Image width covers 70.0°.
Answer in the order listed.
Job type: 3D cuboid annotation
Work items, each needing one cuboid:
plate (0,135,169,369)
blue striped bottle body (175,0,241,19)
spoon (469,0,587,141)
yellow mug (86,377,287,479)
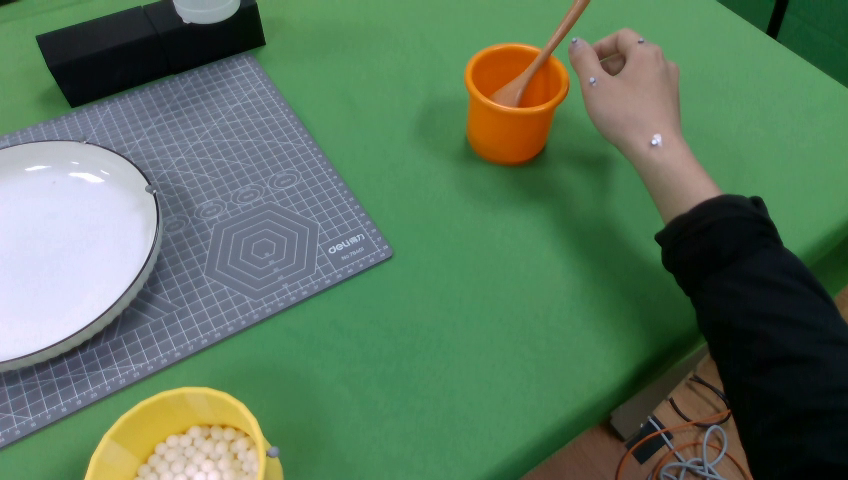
[{"bbox_3d":[-0.301,0.007,0.465,0.208,0.039,0.205,1,55,-2],"label":"plate"},{"bbox_3d":[-0.211,-0.271,0.551,0.063,0.122,0.062,1,55,-1],"label":"blue striped bottle body"},{"bbox_3d":[0.103,-0.170,0.535,0.041,0.022,0.194,45,105,27],"label":"spoon"},{"bbox_3d":[-0.153,0.146,0.363,0.131,0.064,0.099,-18,58,-13],"label":"yellow mug"}]
